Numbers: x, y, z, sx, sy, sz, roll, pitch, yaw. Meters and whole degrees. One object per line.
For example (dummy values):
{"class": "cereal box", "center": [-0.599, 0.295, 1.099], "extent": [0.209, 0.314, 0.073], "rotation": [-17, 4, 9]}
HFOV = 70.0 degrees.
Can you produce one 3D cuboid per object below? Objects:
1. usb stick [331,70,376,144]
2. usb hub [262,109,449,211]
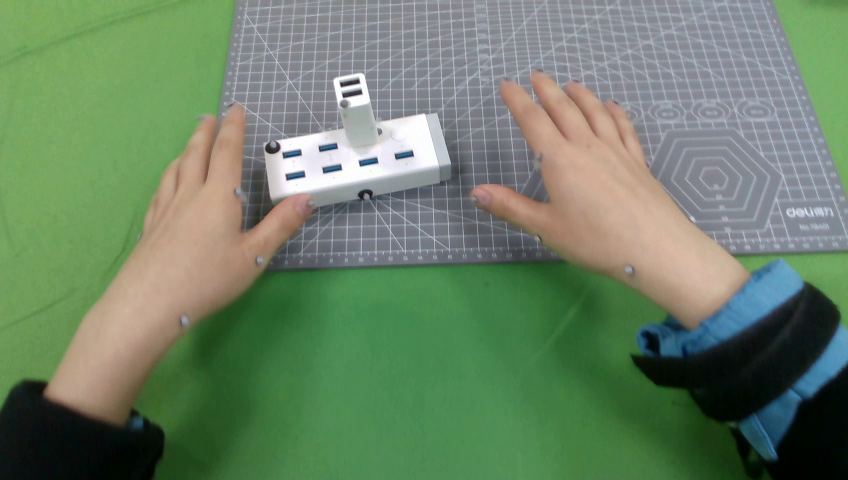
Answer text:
{"class": "usb stick", "center": [-0.046, -0.084, 0.407], "extent": [0.021, 0.059, 0.027], "rotation": [-14, 64, -3]}
{"class": "usb hub", "center": [-0.048, -0.058, 0.426], "extent": [0.125, 0.025, 0.049], "rotation": [-11, 64, -5]}
